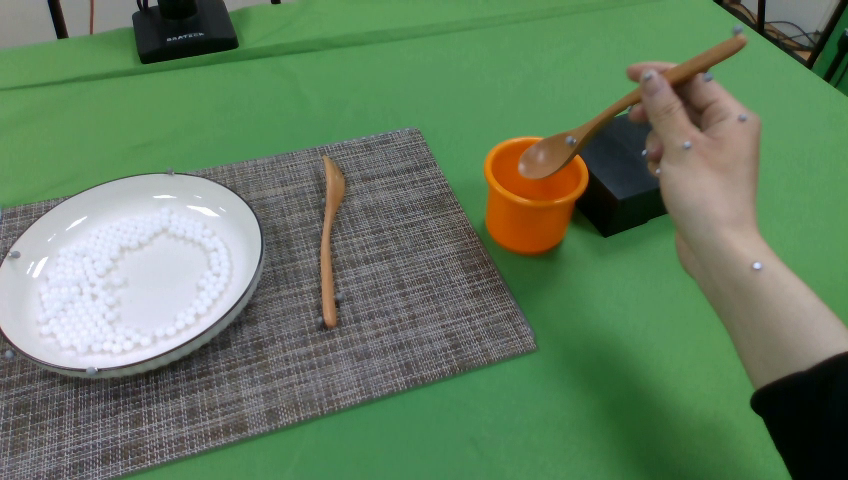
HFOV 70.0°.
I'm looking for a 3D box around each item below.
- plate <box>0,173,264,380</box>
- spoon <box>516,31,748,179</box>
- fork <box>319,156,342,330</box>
[{"bbox_3d":[-0.236,0.027,0.505,0.209,0.038,0.207,1,48,-1],"label":"plate"},{"bbox_3d":[0.139,-0.093,0.441,0.022,0.193,0.041,24,57,-26],"label":"spoon"},{"bbox_3d":[-0.087,-0.006,0.552,0.018,0.028,0.205,-22,48,20],"label":"fork"}]
